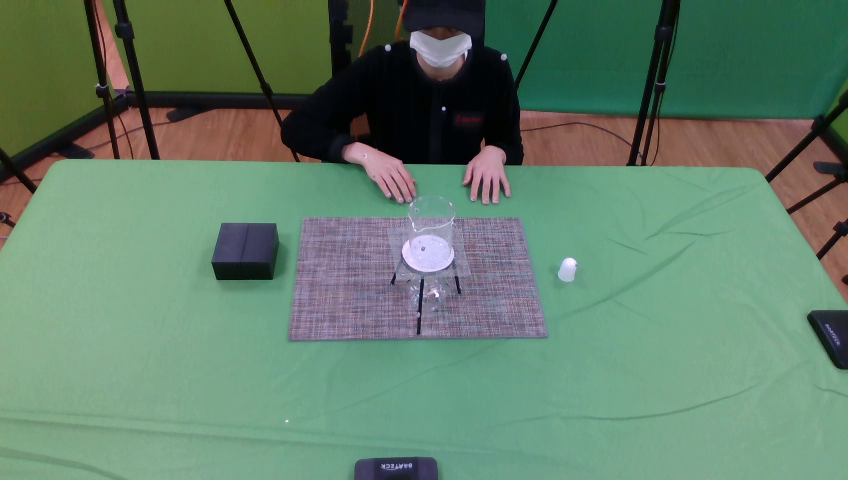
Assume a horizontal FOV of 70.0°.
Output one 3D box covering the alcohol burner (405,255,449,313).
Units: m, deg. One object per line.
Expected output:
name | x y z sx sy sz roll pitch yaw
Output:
alcohol burner | 0.006 0.071 1.060 0.078 0.120 0.077 1 45 -1

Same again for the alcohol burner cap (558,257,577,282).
alcohol burner cap | 0.276 0.053 1.154 0.034 0.048 0.033 2 46 -2

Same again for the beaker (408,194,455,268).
beaker | 0.009 -0.010 0.965 0.074 0.101 0.084 23 50 20

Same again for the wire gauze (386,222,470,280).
wire gauze | 0.005 0.018 1.006 0.125 0.011 0.120 -7 45 -5

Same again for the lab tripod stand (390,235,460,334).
lab tripod stand | -0.002 0.067 1.050 0.148 0.132 0.147 1 47 -1
